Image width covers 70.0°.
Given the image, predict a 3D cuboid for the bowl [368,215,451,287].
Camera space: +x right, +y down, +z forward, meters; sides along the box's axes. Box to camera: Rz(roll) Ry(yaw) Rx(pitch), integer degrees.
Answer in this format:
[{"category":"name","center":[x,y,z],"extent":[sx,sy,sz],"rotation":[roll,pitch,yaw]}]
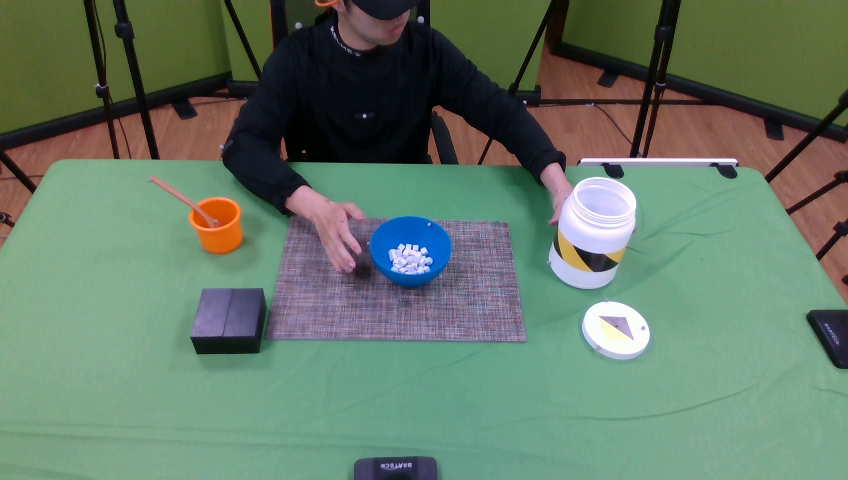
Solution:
[{"category":"bowl","center":[-0.027,0.033,1.119],"extent":[0.151,0.077,0.150],"rotation":[2,46,-2]}]

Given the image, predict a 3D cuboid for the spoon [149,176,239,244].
[{"category":"spoon","center":[-0.427,-0.057,1.132],"extent":[0.021,0.195,0.041],"rotation":[-27,31,34]}]

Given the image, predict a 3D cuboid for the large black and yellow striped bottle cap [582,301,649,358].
[{"category":"large black and yellow striped bottle cap","center":[0.340,0.157,1.077],"extent":[0.115,0.019,0.114],"rotation":[1,47,-1]}]

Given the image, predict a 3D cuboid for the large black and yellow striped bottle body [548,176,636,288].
[{"category":"large black and yellow striped bottle body","center":[0.311,-0.014,1.122],"extent":[0.131,0.185,0.130],"rotation":[2,46,-2]}]
